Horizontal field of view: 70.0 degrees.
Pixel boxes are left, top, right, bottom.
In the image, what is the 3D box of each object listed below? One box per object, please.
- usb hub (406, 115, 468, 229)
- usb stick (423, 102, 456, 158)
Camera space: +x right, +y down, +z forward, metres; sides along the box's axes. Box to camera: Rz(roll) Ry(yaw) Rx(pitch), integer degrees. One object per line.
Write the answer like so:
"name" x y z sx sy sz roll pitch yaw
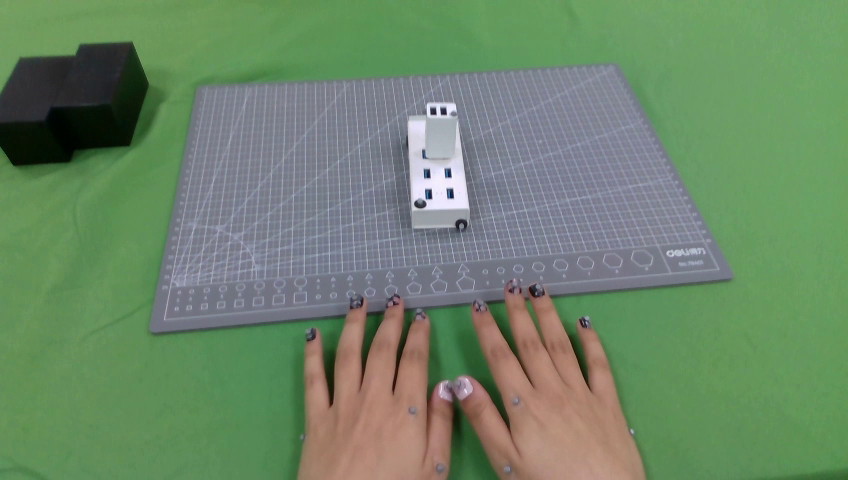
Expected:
"usb hub" 0.009 -0.064 0.539 0.049 0.025 0.124 -2 50 -2
"usb stick" 0.013 -0.089 0.521 0.027 0.060 0.021 -5 50 -2
